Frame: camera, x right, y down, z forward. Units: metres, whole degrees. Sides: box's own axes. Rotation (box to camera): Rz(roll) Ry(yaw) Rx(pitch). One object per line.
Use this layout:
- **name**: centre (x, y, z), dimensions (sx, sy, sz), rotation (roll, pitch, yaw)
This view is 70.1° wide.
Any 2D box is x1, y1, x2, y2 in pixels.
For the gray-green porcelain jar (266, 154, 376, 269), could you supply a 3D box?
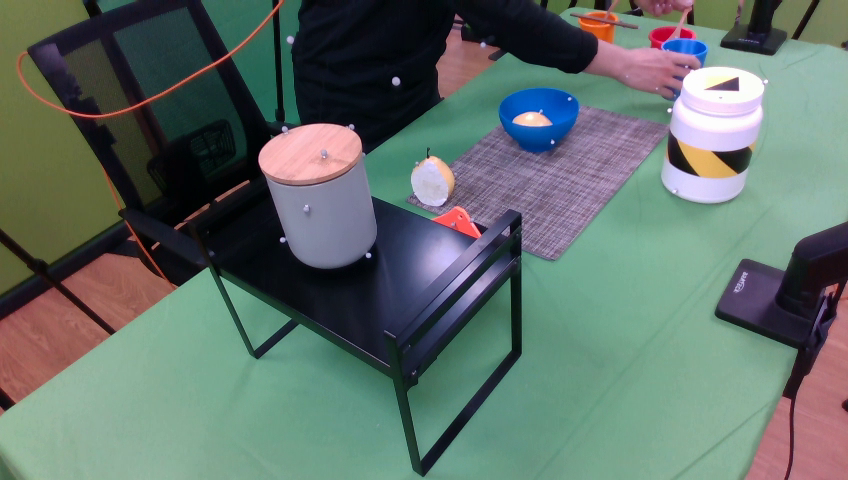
- **gray-green porcelain jar**: centre (-0.112, -0.039, 0.686), dimensions (0.106, 0.127, 0.105), rotation (-4, 40, 4)

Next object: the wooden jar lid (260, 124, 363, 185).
- **wooden jar lid**: centre (-0.119, -0.088, 0.645), dimensions (0.108, 0.021, 0.108), rotation (-4, 40, 4)

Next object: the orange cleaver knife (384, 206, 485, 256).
- **orange cleaver knife**: centre (0.012, -0.010, 0.942), dimensions (0.012, 0.077, 0.210), rotation (-37, 19, -35)

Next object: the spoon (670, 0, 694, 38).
- **spoon**: centre (0.568, -0.483, 1.320), dimensions (0.041, 0.193, 0.022), rotation (27, 15, 27)

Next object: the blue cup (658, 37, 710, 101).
- **blue cup**: centre (0.496, -0.329, 1.176), dimensions (0.092, 0.100, 0.092), rotation (-5, 42, 5)

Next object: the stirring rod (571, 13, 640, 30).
- **stirring rod**: centre (0.419, -0.509, 1.404), dimensions (0.174, 0.006, 0.014), rotation (29, 54, 35)

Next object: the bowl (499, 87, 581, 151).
- **bowl**: centre (0.220, -0.223, 1.155), dimensions (0.151, 0.077, 0.150), rotation (-4, 40, 4)

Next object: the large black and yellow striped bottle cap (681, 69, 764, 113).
- **large black and yellow striped bottle cap**: centre (0.453, -0.229, 0.921), dimensions (0.115, 0.019, 0.114), rotation (-4, 39, 4)

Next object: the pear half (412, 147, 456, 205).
- **pear half**: centre (0.019, -0.120, 1.042), dimensions (0.076, 0.110, 0.056), rotation (11, 44, 16)

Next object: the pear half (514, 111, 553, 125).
- **pear half**: centre (0.214, -0.226, 1.149), dimensions (0.087, 0.031, 0.070), rotation (12, 49, 15)

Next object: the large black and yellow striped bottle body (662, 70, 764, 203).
- **large black and yellow striped bottle body**: centre (0.464, -0.166, 0.976), dimensions (0.131, 0.185, 0.130), rotation (-5, 41, 5)

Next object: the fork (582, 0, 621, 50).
- **fork**: centre (0.446, -0.539, 1.438), dimensions (0.207, 0.019, 0.028), rotation (-57, 35, 12)
